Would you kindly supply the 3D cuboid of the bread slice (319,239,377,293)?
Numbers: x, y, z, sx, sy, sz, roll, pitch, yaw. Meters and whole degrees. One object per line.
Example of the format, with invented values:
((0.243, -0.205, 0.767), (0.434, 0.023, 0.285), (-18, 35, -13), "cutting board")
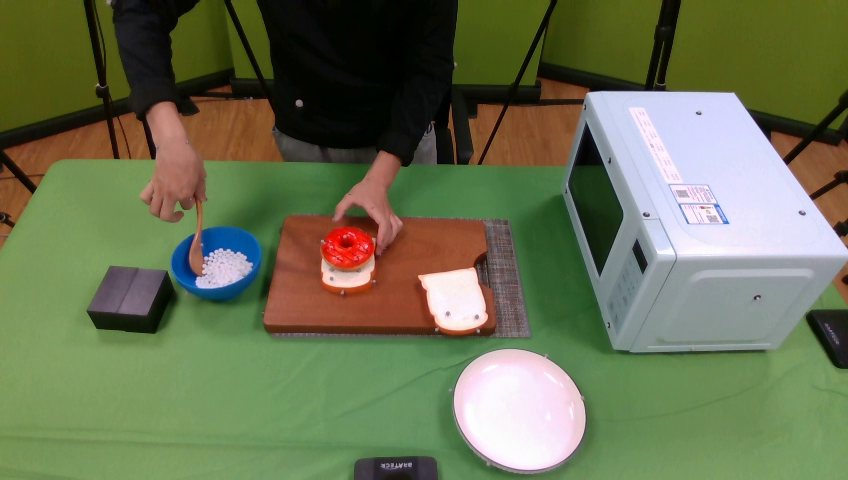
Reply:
((-0.140, 0.044, 1.111), (0.105, 0.019, 0.130), (0, 44, -3), "bread slice")

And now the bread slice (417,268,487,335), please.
((0.055, 0.107, 1.063), (0.107, 0.018, 0.133), (-9, 48, -12), "bread slice")

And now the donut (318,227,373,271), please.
((-0.142, 0.017, 1.095), (0.099, 0.048, 0.098), (2, 44, -2), "donut")

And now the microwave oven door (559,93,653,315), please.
((0.327, -0.074, 1.123), (0.039, 0.245, 0.353), (-1, 46, -5), "microwave oven door")

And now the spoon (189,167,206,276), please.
((-0.402, -0.033, 1.079), (0.021, 0.193, 0.042), (1, 0, 14), "spoon")

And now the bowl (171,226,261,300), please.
((-0.363, 0.054, 1.081), (0.151, 0.077, 0.150), (2, 46, -2), "bowl")

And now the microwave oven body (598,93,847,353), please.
((0.475, -0.041, 1.109), (0.326, 0.261, 0.438), (-1, 45, -4), "microwave oven body")

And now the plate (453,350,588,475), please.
((0.147, 0.267, 0.943), (0.208, 0.039, 0.206), (2, 45, -2), "plate")

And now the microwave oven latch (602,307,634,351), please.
((0.332, 0.153, 1.044), (0.030, 0.029, 0.078), (-1, 45, -4), "microwave oven latch")
